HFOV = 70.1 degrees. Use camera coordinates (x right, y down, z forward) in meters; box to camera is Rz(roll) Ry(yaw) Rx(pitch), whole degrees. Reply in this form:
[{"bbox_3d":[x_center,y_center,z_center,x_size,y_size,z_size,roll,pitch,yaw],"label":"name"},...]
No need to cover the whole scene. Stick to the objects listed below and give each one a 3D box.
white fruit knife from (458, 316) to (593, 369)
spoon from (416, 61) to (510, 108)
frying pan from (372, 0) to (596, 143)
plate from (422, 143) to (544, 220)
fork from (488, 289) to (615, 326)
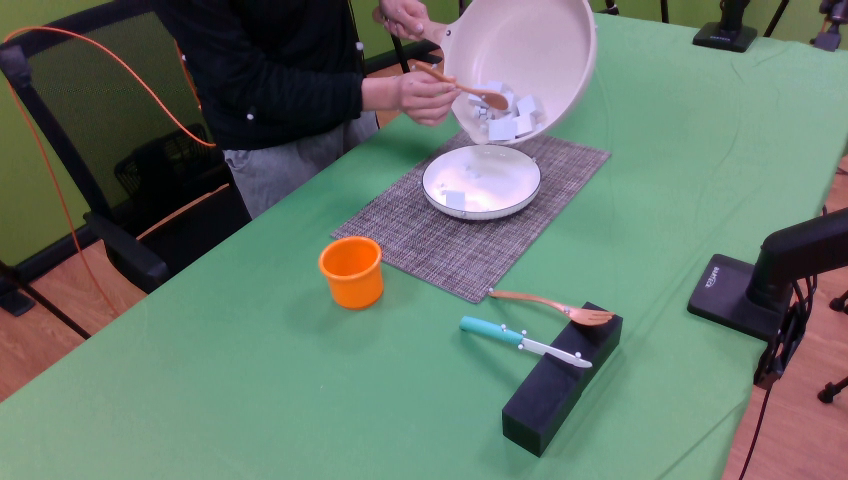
[{"bbox_3d":[0.120,0.127,0.757,0.205,0.027,0.016,12,44,43],"label":"white fruit knife"},{"bbox_3d":[0.066,-0.252,0.983,0.195,0.021,0.041,10,-9,-37],"label":"spoon"},{"bbox_3d":[0.087,-0.352,1.088,0.484,0.306,0.103,30,15,28],"label":"frying pan"},{"bbox_3d":[0.102,-0.097,1.049,0.207,0.039,0.206,-4,40,4],"label":"plate"},{"bbox_3d":[0.160,0.086,0.800,0.205,0.019,0.028,12,48,48],"label":"fork"}]
